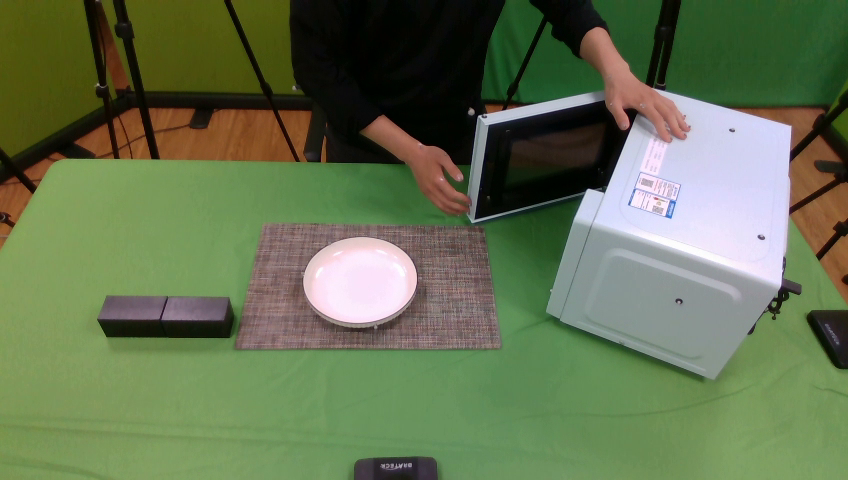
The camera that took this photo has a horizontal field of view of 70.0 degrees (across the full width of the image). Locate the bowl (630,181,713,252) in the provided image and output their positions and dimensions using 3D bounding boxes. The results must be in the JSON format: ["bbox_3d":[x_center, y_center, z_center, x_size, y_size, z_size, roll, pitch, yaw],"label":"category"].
[{"bbox_3d":[0.451,-0.031,1.139,0.151,0.077,0.150,4,49,-4],"label":"bowl"}]

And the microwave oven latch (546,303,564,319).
[{"bbox_3d":[0.242,0.102,1.081,0.030,0.029,0.079,22,48,17],"label":"microwave oven latch"}]

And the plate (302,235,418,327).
[{"bbox_3d":[-0.114,0.077,1.098,0.208,0.039,0.206,2,46,-2],"label":"plate"}]

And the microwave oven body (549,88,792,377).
[{"bbox_3d":[0.456,-0.028,1.088,0.325,0.261,0.440,20,47,16],"label":"microwave oven body"}]

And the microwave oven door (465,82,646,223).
[{"bbox_3d":[0.259,-0.173,1.206,0.356,0.245,0.039,-15,48,-17],"label":"microwave oven door"}]
